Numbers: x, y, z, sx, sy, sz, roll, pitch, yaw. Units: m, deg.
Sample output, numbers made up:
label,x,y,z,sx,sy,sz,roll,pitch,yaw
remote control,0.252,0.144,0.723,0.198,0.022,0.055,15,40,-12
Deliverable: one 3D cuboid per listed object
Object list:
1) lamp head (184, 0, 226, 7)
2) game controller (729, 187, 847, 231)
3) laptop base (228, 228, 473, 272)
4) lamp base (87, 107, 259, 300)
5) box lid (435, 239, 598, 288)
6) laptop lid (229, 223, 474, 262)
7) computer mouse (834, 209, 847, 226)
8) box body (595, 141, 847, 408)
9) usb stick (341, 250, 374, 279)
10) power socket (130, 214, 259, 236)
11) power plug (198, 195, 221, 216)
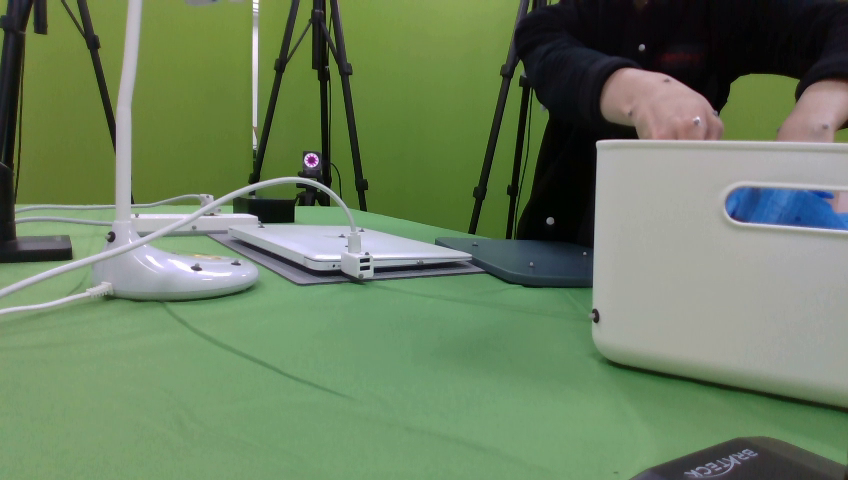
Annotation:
label,x,y,z,sx,sy,sz,roll,pitch,yaw
lamp head,-0.229,-0.320,0.627,0.112,0.112,0.123,6,-35,26
game controller,0.260,-0.019,0.446,0.097,0.051,0.155,26,11,8
laptop base,-0.123,0.012,0.889,0.237,0.023,0.352,2,6,-35
lamp base,-0.254,-0.039,0.603,0.160,0.180,0.179,5,10,18
box lid,0.185,0.029,0.896,0.264,0.015,0.370,1,7,-16
laptop lid,-0.121,0.000,0.888,0.243,0.013,0.355,1,7,-33
computer mouse,0.341,0.000,0.467,0.062,0.041,0.117,8,15,19
box body,0.309,0.006,0.510,0.253,0.160,0.366,6,8,29
usb stick,-0.078,0.026,0.686,0.021,0.027,0.059,-7,8,-30
power socket,-0.397,-0.028,1.048,0.228,0.032,0.072,-3,7,-35
power plug,-0.386,-0.055,1.088,0.035,0.052,0.072,-1,6,-24
